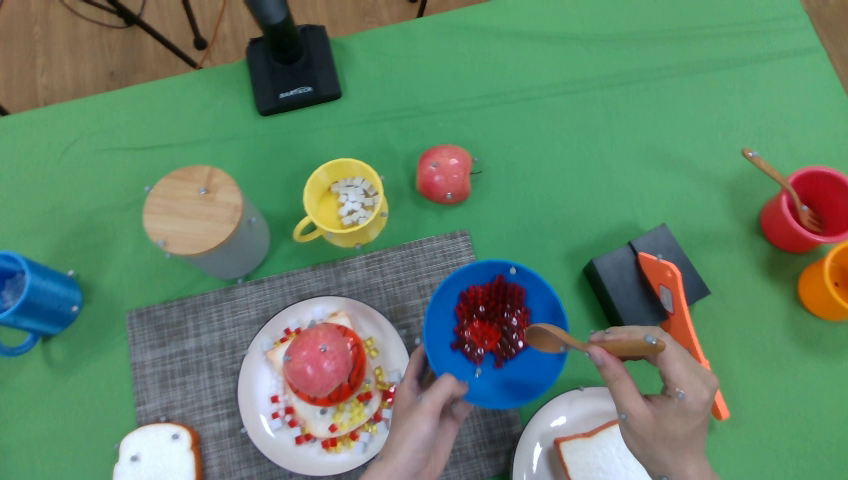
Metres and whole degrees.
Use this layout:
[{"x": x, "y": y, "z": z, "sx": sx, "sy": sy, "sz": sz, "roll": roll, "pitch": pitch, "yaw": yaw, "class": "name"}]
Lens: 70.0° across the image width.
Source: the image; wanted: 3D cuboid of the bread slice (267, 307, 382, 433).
[{"x": -0.111, "y": 0.161, "z": 0.728, "sx": 0.107, "sy": 0.018, "sz": 0.133, "roll": -30, "pitch": 76, "yaw": -8, "class": "bread slice"}]

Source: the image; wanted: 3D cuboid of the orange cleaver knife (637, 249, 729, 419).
[{"x": 0.301, "y": 0.108, "z": 0.710, "sx": 0.012, "sy": 0.077, "sz": 0.211, "roll": -24, "pitch": 96, "yaw": -12, "class": "orange cleaver knife"}]

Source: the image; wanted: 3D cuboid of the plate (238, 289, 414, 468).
[{"x": -0.115, "y": 0.163, "z": 0.726, "sx": 0.207, "sy": 0.039, "sz": 0.206, "roll": 0, "pitch": 74, "yaw": 2, "class": "plate"}]

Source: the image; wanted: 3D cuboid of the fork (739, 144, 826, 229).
[{"x": 0.431, "y": -0.062, "z": 0.721, "sx": 0.209, "sy": 0.018, "sz": 0.028, "roll": 28, "pitch": 70, "yaw": -33, "class": "fork"}]

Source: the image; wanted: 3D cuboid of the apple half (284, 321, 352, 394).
[{"x": -0.120, "y": 0.128, "z": 0.669, "sx": 0.081, "sy": 0.033, "sz": 0.081, "roll": -3, "pitch": 71, "yaw": 8, "class": "apple half"}]

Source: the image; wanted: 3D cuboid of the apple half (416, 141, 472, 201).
[{"x": 0.026, "y": -0.096, "z": 0.794, "sx": 0.074, "sy": 0.053, "sz": 0.080, "roll": 7, "pitch": 74, "yaw": 7, "class": "apple half"}]

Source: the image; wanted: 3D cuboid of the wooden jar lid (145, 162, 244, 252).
[{"x": -0.255, "y": -0.036, "z": 0.680, "sx": 0.108, "sy": 0.021, "sz": 0.107, "roll": 0, "pitch": 71, "yaw": 0, "class": "wooden jar lid"}]

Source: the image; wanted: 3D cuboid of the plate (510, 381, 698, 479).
[{"x": 0.201, "y": 0.268, "z": 0.690, "sx": 0.209, "sy": 0.038, "sz": 0.208, "roll": -1, "pitch": 74, "yaw": 3, "class": "plate"}]

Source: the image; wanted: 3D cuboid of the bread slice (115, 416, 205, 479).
[{"x": -0.312, "y": 0.275, "z": 0.711, "sx": 0.105, "sy": 0.019, "sz": 0.131, "roll": -6, "pitch": 75, "yaw": -1, "class": "bread slice"}]

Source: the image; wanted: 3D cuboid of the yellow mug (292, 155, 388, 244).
[{"x": -0.112, "y": -0.042, "z": 0.776, "sx": 0.131, "sy": 0.064, "sz": 0.099, "roll": -35, "pitch": 76, "yaw": -7, "class": "yellow mug"}]

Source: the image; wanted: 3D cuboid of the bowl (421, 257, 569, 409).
[{"x": 0.067, "y": 0.099, "z": 0.635, "sx": 0.152, "sy": 0.077, "sz": 0.150, "roll": 2, "pitch": 78, "yaw": -7, "class": "bowl"}]

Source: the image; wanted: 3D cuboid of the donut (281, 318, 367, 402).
[{"x": -0.116, "y": 0.139, "z": 0.704, "sx": 0.099, "sy": 0.048, "sz": 0.098, "roll": -1, "pitch": 74, "yaw": 2, "class": "donut"}]

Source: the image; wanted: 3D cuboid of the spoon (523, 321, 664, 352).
[{"x": 0.133, "y": 0.083, "z": 0.498, "sx": 0.042, "sy": 0.193, "sz": 0.021, "roll": 38, "pitch": 77, "yaw": -9, "class": "spoon"}]

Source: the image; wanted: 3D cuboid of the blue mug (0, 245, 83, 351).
[{"x": -0.486, "y": 0.076, "z": 0.731, "sx": 0.082, "sy": 0.106, "sz": 0.116, "roll": 6, "pitch": 74, "yaw": 4, "class": "blue mug"}]

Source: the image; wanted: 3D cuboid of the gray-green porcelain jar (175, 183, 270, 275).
[{"x": -0.252, "y": -0.018, "z": 0.741, "sx": 0.106, "sy": 0.127, "sz": 0.105, "roll": 0, "pitch": 73, "yaw": 2, "class": "gray-green porcelain jar"}]
